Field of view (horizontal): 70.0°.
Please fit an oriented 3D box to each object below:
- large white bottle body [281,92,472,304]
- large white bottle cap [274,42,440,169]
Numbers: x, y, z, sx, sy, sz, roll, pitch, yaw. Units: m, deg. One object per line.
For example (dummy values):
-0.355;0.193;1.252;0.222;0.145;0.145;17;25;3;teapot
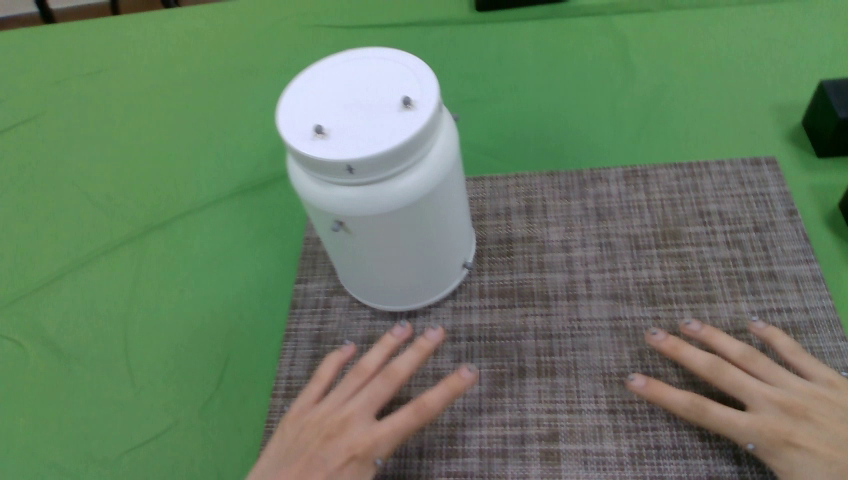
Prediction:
-0.033;-0.047;0.487;0.130;0.186;0.129;-5;53;7;large white bottle body
-0.046;-0.095;0.419;0.115;0.018;0.113;-5;53;7;large white bottle cap
